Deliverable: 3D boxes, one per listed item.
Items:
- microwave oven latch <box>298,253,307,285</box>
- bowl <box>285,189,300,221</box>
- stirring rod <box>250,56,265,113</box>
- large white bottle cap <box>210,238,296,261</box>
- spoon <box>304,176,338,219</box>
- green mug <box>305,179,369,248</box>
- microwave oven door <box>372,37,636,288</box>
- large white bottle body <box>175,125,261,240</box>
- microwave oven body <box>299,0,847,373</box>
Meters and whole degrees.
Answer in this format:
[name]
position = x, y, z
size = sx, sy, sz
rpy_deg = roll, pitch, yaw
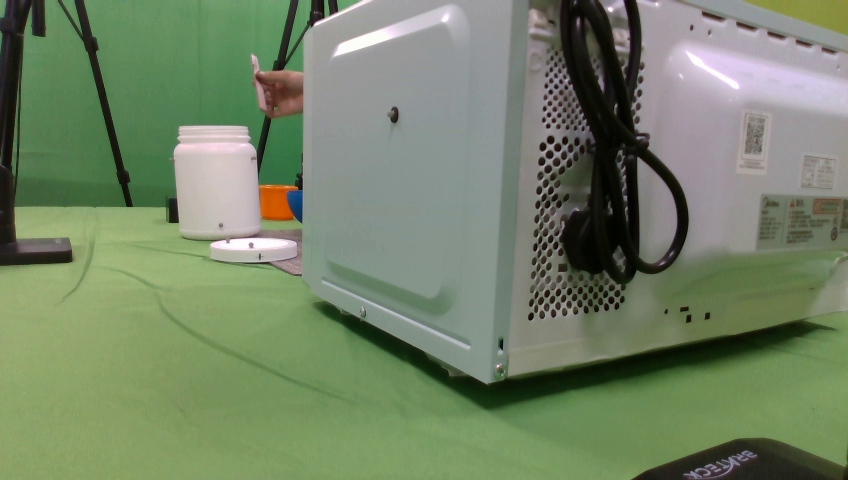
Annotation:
[microwave oven latch]
position = -0.081, 0.027, 0.583
size = 0.079, 0.029, 0.030
rpy_deg = -2, 8, -33
[bowl]
position = -0.180, -0.051, 1.113
size = 0.151, 0.077, 0.151
rpy_deg = 2, 8, 0
[stirring rod]
position = -0.317, -0.298, 1.149
size = 0.006, 0.175, 0.014
rpy_deg = -37, -41, 22
[large white bottle cap]
position = -0.236, 0.012, 0.839
size = 0.115, 0.018, 0.115
rpy_deg = 1, 7, 0
[spoon]
position = -0.201, -0.084, 1.146
size = 0.042, 0.021, 0.193
rpy_deg = 1, 31, -24
[green mug]
position = -0.133, -0.044, 0.977
size = 0.092, 0.105, 0.126
rpy_deg = 6, 8, 32
[microwave oven door]
position = 0.110, -0.080, 0.686
size = 0.358, 0.243, 0.039
rpy_deg = -2, 9, -33
[large white bottle body]
position = -0.349, -0.100, 1.025
size = 0.131, 0.184, 0.130
rpy_deg = -1, 9, 0
[microwave oven body]
position = 0.152, -0.055, 0.542
size = 0.444, 0.260, 0.324
rpy_deg = -2, 7, -33
